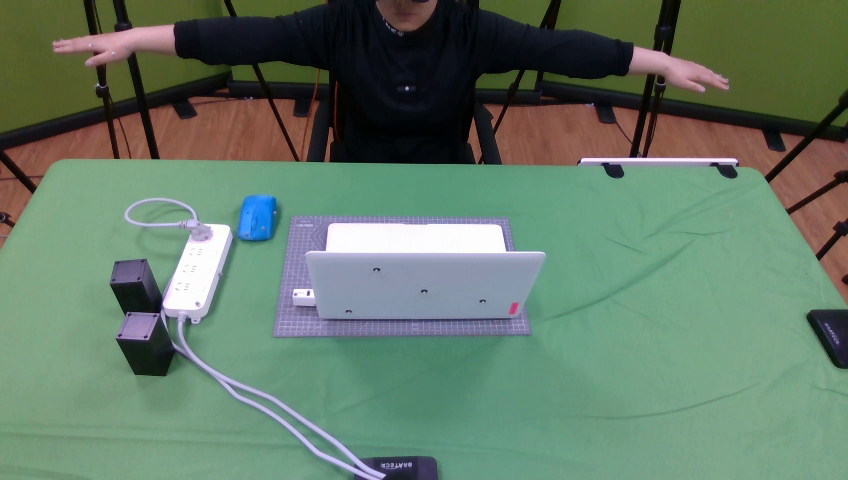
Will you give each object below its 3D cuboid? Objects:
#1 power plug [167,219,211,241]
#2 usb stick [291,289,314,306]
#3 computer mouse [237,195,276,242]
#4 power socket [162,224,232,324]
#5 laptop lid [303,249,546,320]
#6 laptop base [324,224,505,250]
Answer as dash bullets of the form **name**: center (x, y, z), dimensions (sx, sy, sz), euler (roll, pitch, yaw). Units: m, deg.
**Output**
- **power plug**: center (-0.438, -0.017, 1.143), dimensions (0.072, 0.053, 0.035), euler (11, 44, 6)
- **usb stick**: center (-0.203, 0.102, 1.066), dimensions (0.059, 0.027, 0.021), euler (4, 45, -5)
- **computer mouse**: center (-0.333, -0.047, 1.207), dimensions (0.063, 0.041, 0.116), euler (3, 50, -5)
- **power socket**: center (-0.411, 0.052, 1.106), dimensions (0.072, 0.033, 0.225), euler (3, 45, -1)
- **laptop lid**: center (-0.003, 0.077, 0.962), dimensions (0.357, 0.242, 0.013), euler (1, 58, -5)
- **laptop base**: center (-0.014, 0.055, 1.144), dimensions (0.355, 0.023, 0.234), euler (0, 42, -4)
